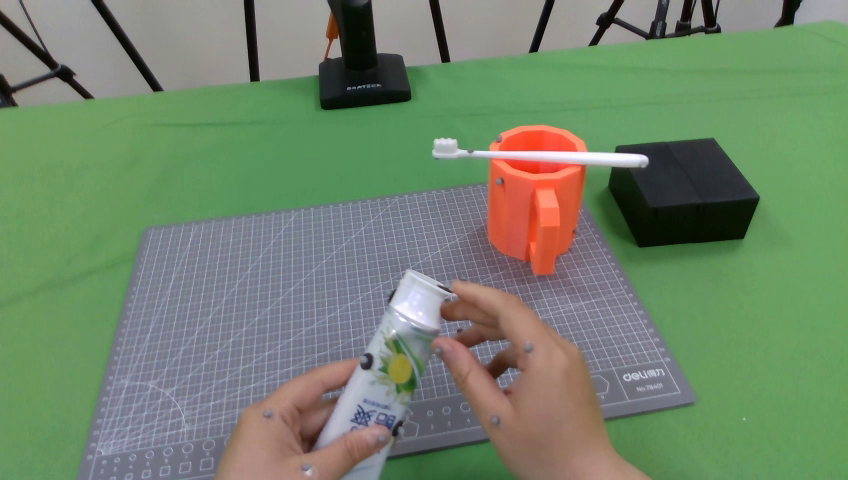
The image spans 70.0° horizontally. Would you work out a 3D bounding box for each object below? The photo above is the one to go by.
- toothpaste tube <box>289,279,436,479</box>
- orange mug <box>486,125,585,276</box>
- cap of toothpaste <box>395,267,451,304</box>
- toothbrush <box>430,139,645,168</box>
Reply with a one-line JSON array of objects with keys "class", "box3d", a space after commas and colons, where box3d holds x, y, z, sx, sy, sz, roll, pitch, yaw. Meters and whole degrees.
[{"class": "toothpaste tube", "box3d": [-0.034, 0.099, 0.370, 0.055, 0.165, 0.034, 23, 3, -14]}, {"class": "orange mug", "box3d": [0.101, -0.032, 0.549, 0.083, 0.102, 0.125, -3, 38, 1]}, {"class": "cap of toothpaste", "box3d": [-0.001, 0.029, 0.366, 0.037, 0.037, 0.011, 28, 93, 30]}, {"class": "toothbrush", "box3d": [0.094, -0.073, 0.517, 0.181, 0.017, 0.014, 4, 35, 9]}]
